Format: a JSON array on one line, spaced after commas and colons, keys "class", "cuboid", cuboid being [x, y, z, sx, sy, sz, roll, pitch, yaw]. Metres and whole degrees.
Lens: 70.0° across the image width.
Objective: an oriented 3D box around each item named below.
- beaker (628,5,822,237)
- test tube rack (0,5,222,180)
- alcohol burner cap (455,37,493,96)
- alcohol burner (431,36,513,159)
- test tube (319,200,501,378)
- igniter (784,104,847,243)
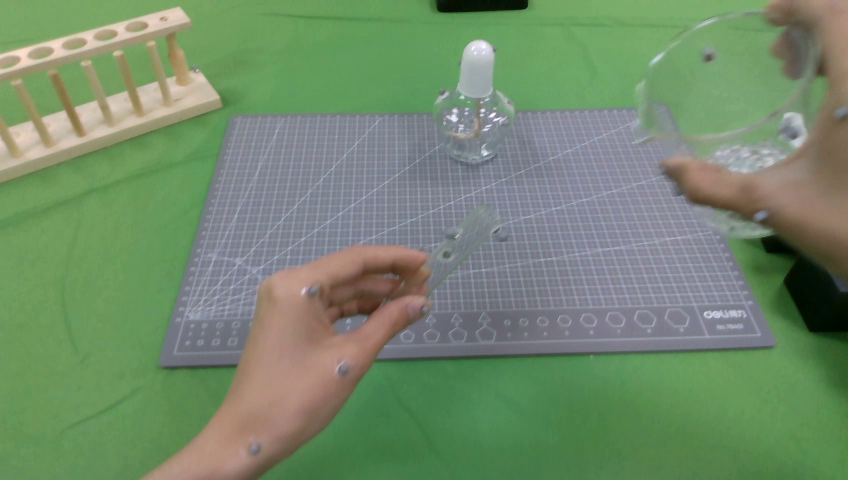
[{"class": "beaker", "cuboid": [0.155, -0.052, 0.309, 0.084, 0.101, 0.073, -36, 45, 13]}, {"class": "test tube rack", "cuboid": [-0.332, -0.142, 0.582, 0.242, 0.086, 0.066, -26, 53, -22]}, {"class": "alcohol burner cap", "cuboid": [0.045, -0.155, 0.534, 0.034, 0.048, 0.033, 2, 47, -2]}, {"class": "alcohol burner", "cuboid": [0.045, -0.133, 0.557, 0.078, 0.120, 0.077, 1, 49, -1]}, {"class": "test tube", "cuboid": [-0.013, 0.032, 0.338, 0.017, 0.150, 0.017, 34, 28, -20]}, {"class": "igniter", "cuboid": [0.338, -0.018, 0.456, 0.057, 0.025, 0.274, 0, 46, 4]}]
